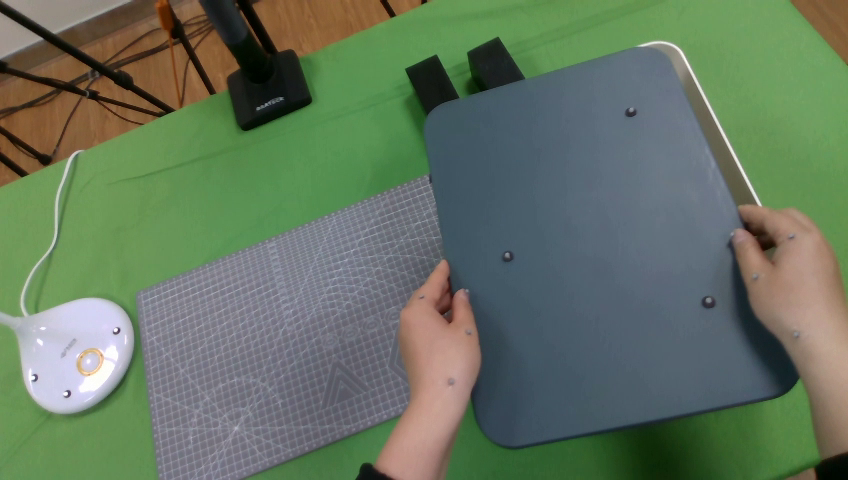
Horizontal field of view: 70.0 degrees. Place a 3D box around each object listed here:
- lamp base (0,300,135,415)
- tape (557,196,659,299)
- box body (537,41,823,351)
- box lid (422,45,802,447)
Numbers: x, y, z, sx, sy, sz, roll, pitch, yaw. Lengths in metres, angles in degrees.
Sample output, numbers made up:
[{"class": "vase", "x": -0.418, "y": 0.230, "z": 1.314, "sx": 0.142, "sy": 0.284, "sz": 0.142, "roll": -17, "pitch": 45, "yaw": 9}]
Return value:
[{"class": "lamp base", "x": -0.497, "y": 0.123, "z": 0.761, "sx": 0.178, "sy": 0.182, "sz": 0.160, "roll": 14, "pitch": 70, "yaw": 21}, {"class": "tape", "x": 0.215, "y": 0.008, "z": 0.714, "sx": 0.116, "sy": 0.053, "sz": 0.116, "roll": -5, "pitch": 65, "yaw": 10}, {"class": "box body", "x": 0.202, "y": -0.003, "z": 0.667, "sx": 0.254, "sy": 0.162, "sz": 0.360, "roll": -17, "pitch": 64, "yaw": 5}, {"class": "box lid", "x": 0.145, "y": -0.017, "z": 0.562, "sx": 0.263, "sy": 0.015, "sz": 0.368, "roll": -14, "pitch": 62, "yaw": 9}]
